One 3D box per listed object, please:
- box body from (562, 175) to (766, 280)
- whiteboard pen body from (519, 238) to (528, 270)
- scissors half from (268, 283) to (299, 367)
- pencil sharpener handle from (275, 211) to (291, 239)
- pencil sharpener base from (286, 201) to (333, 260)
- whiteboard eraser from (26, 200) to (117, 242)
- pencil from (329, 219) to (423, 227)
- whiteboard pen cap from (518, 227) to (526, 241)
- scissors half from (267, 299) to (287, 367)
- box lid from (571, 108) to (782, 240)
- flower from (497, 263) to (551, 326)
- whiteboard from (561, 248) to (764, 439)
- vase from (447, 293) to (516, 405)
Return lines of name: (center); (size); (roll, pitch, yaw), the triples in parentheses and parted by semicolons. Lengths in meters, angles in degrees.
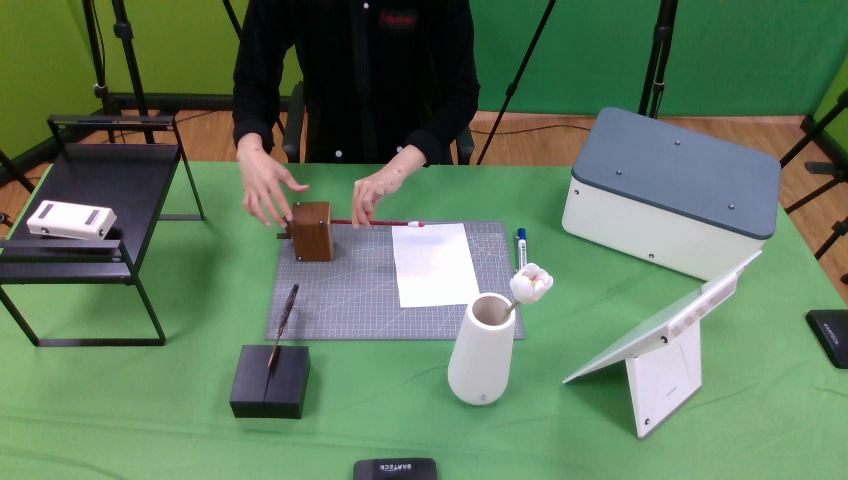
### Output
box body: (0.486, -0.088, 1.222); (0.363, 0.161, 0.253); (20, 48, 15)
whiteboard pen body: (0.193, 0.035, 1.180); (0.017, 0.017, 0.140); (6, 48, 1)
scissors half: (-0.230, 0.135, 0.986); (0.013, 0.040, 0.174); (19, 43, -11)
pencil sharpener handle: (-0.263, -0.025, 1.121); (0.031, 0.068, 0.036); (-1, 52, -4)
pencil sharpener base: (-0.213, -0.016, 1.133); (0.077, 0.107, 0.061); (-1, 47, -4)
whiteboard eraser: (-0.532, -0.026, 0.919); (0.113, 0.042, 0.055); (7, 45, 3)
pencil: (-0.098, -0.033, 1.121); (0.194, 0.012, 0.012); (2, 46, -2)
whiteboard pen cap: (0.197, -0.009, 1.220); (0.018, 0.018, 0.033); (5, 51, 1)
scissors half: (-0.239, 0.150, 0.997); (0.013, 0.040, 0.174); (24, 24, -13)
box lid: (0.491, -0.139, 1.168); (0.370, 0.015, 0.262); (21, 49, 15)
flower: (0.103, 0.121, 0.852); (0.044, 0.363, 0.038); (-1, 64, -9)
whiteboard: (0.386, 0.176, 0.905); (0.217, 0.306, 0.143); (-26, 72, -27)
vase: (0.091, 0.169, 0.921); (0.098, 0.201, 0.097); (3, 47, -3)
